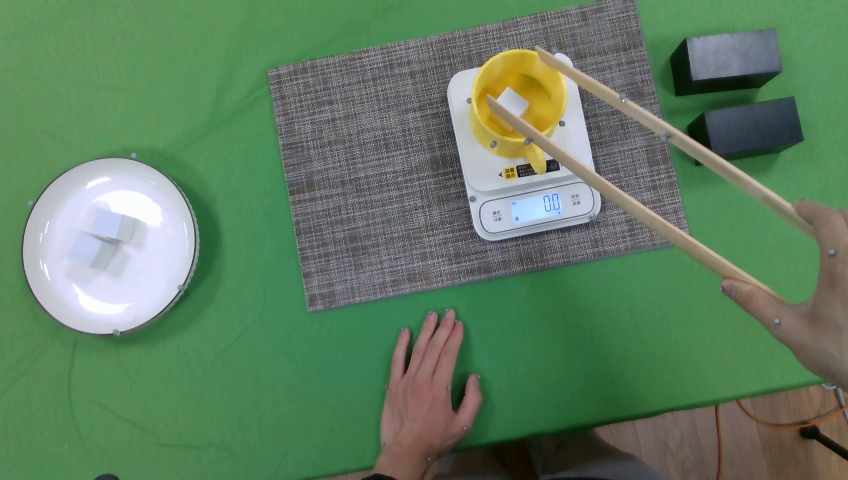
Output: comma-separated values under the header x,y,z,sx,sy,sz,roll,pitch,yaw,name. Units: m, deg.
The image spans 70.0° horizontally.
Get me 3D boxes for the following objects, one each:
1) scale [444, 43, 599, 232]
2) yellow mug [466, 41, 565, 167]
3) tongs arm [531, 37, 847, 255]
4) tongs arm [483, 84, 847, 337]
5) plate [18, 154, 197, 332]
x,y,z,sx,sy,sz,roll,pitch,yaw,name
0.112,-0.119,0.698,0.148,0.031,0.200,-12,85,2,scale
0.102,-0.140,0.653,0.100,0.064,0.130,-21,85,0,yellow mug
0.210,-0.071,0.506,0.051,0.027,0.380,-45,57,-1,tongs arm
0.181,-0.042,0.506,0.028,0.028,0.383,-44,57,-5,tongs arm
-0.365,0.004,0.713,0.207,0.039,0.207,0,85,2,plate
